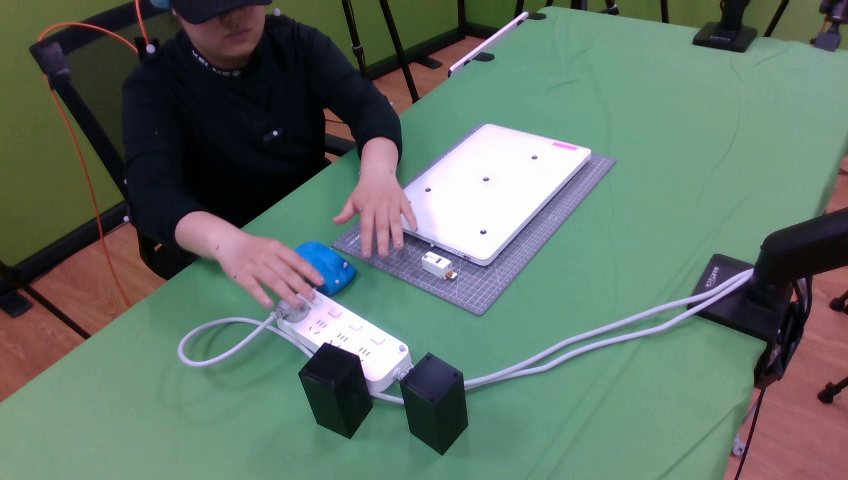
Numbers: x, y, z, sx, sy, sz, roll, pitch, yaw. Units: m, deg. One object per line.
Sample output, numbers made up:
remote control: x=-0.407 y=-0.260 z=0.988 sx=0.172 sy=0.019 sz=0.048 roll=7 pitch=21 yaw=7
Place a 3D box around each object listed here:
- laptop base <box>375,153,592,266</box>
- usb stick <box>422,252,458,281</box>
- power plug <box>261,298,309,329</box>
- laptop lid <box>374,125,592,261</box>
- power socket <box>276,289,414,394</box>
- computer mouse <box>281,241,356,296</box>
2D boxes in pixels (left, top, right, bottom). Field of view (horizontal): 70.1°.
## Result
laptop base: x=0.112 y=-0.092 z=1.063 sx=0.233 sy=0.023 sz=0.355 roll=21 pitch=48 yaw=34
usb stick: x=0.025 y=0.042 z=0.908 sx=0.058 sy=0.027 sz=0.021 roll=27 pitch=48 yaw=30
power plug: x=-0.192 y=0.108 z=0.831 sx=0.073 sy=0.053 sz=0.035 roll=-34 pitch=43 yaw=-24
laptop lid: x=0.109 y=-0.101 z=1.057 sx=0.239 sy=0.013 sz=0.358 roll=23 pitch=48 yaw=34
power socket: x=-0.115 y=0.133 z=0.820 sx=0.225 sy=0.033 sz=0.072 roll=25 pitch=49 yaw=33
computer mouse: x=-0.164 y=0.041 z=0.934 sx=0.116 sy=0.041 sz=0.063 roll=27 pitch=49 yaw=28
